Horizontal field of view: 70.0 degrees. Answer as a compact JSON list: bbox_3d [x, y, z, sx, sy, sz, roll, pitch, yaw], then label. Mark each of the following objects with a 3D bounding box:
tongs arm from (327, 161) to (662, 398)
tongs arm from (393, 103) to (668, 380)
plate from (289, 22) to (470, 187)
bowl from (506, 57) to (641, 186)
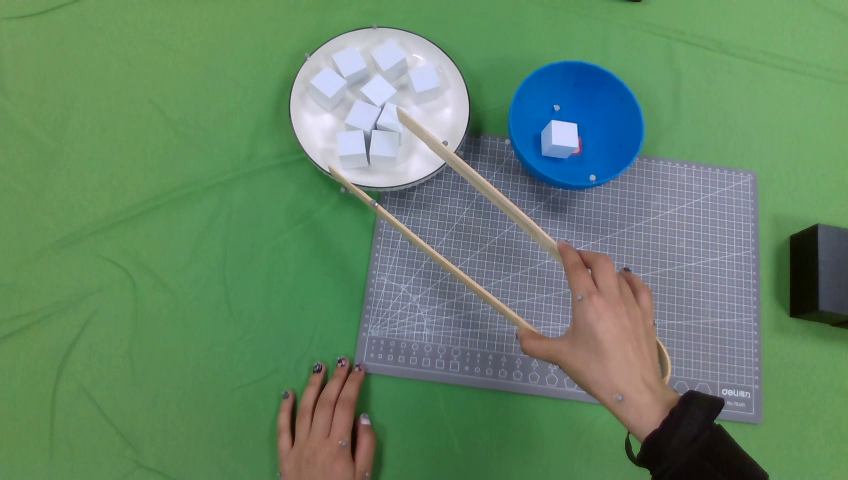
[{"bbox_3d":[0.050,0.022,0.581,0.382,0.027,0.050,41,74,21],"label":"tongs arm"},{"bbox_3d":[0.089,-0.015,0.593,0.028,0.028,0.384,-37,67,-16],"label":"tongs arm"},{"bbox_3d":[-0.051,-0.156,0.710,0.208,0.039,0.206,1,74,-3],"label":"plate"},{"bbox_3d":[0.161,-0.123,0.695,0.151,0.077,0.150,1,75,-4],"label":"bowl"}]
